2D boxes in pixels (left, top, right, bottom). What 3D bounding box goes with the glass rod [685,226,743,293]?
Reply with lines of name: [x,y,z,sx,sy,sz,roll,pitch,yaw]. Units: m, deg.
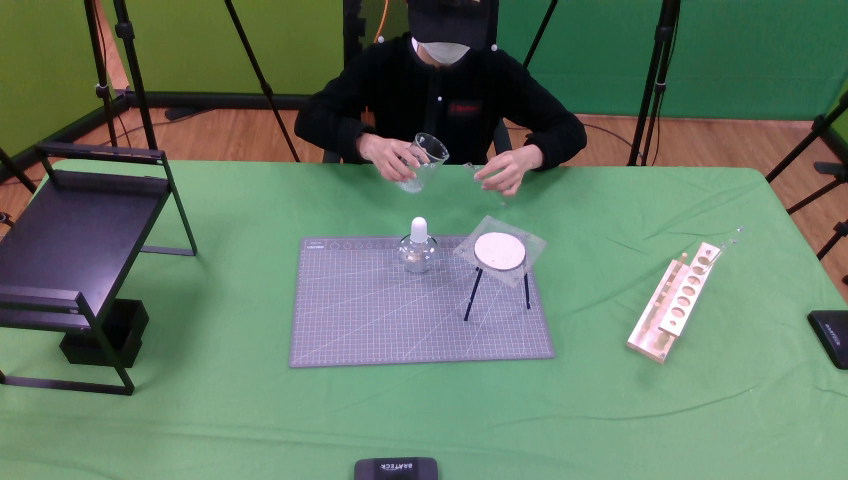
glass rod: [0.500,0.040,1.054,0.008,0.200,0.008,4,53,-5]

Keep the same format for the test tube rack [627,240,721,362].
test tube rack: [0.452,0.098,1.087,0.066,0.085,0.242,28,51,22]

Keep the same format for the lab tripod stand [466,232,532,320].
lab tripod stand: [0.125,0.059,1.065,0.148,0.132,0.147,1,45,0]

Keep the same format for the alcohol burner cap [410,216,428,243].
alcohol burner cap: [-0.009,-0.022,1.099,0.034,0.048,0.033,2,41,-1]

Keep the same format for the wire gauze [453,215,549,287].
wire gauze: [0.129,0.012,1.017,0.124,0.011,0.121,28,50,23]

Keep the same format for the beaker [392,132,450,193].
beaker: [-0.008,-0.145,1.160,0.084,0.100,0.073,14,41,-34]

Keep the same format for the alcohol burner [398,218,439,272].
alcohol burner: [-0.010,0.004,1.123,0.078,0.120,0.077,1,47,0]

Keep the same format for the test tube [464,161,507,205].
test tube: [0.125,-0.111,1.213,0.017,0.151,0.017,-21,51,28]
